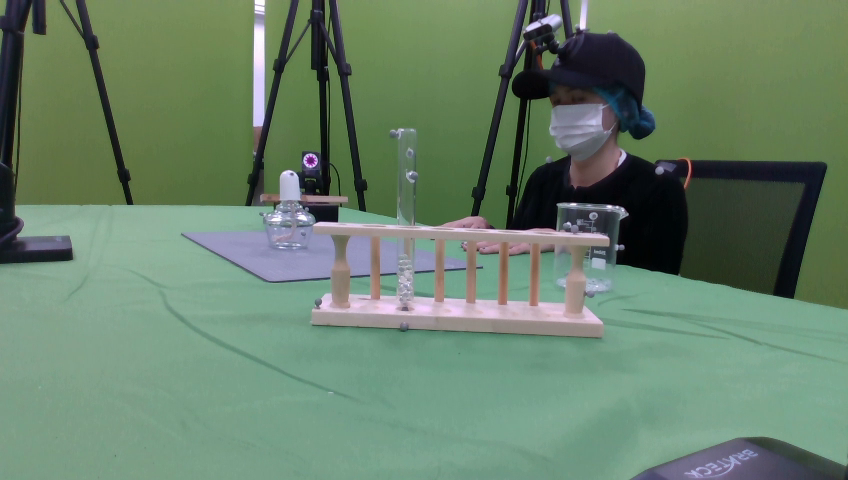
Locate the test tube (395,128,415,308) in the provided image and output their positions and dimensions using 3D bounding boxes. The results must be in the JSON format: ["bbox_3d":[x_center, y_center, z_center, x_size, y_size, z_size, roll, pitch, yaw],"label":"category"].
[{"bbox_3d":[-0.016,-0.016,0.502,0.017,0.150,0.017,1,10,0],"label":"test tube"}]

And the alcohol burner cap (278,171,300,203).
[{"bbox_3d":[-0.203,-0.080,0.909,0.034,0.048,0.034,-1,3,0],"label":"alcohol burner cap"}]

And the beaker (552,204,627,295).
[{"bbox_3d":[0.191,0.010,0.708,0.083,0.100,0.074,8,9,33],"label":"beaker"}]

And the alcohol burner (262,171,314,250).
[{"bbox_3d":[-0.205,-0.045,0.913,0.078,0.119,0.078,1,9,0],"label":"alcohol burner"}]

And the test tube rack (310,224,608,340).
[{"bbox_3d":[0.028,0.032,0.528,0.242,0.085,0.067,3,7,0],"label":"test tube rack"}]

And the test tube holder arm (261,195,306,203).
[{"bbox_3d":[-0.275,-0.081,1.184,0.088,0.015,0.010,-1,0,-32],"label":"test tube holder arm"}]

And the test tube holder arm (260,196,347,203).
[{"bbox_3d":[-0.239,-0.082,1.213,0.179,0.015,0.013,-1,0,-32],"label":"test tube holder arm"}]
